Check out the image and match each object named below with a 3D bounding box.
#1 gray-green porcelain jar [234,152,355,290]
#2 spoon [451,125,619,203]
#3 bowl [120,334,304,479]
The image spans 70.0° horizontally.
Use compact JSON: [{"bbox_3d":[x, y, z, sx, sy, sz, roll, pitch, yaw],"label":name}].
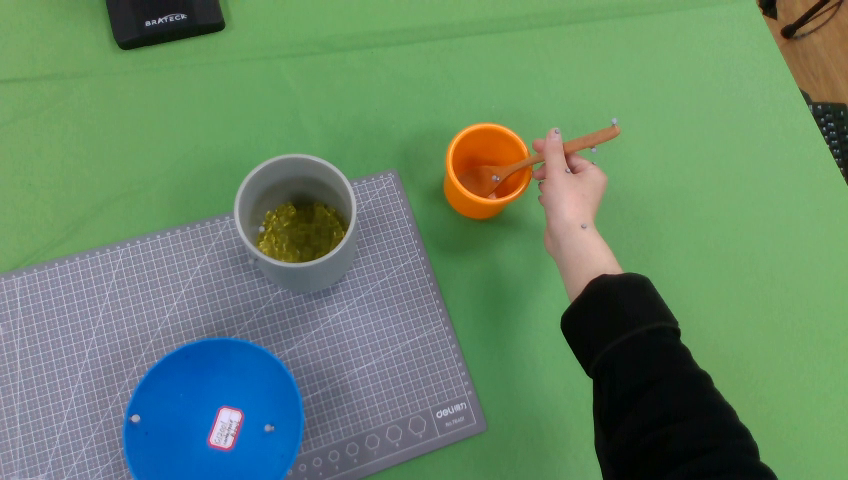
[{"bbox_3d":[-0.119,-0.011,0.585,0.106,0.127,0.105,2,74,-7],"label":"gray-green porcelain jar"},{"bbox_3d":[0.107,-0.079,0.621,0.022,0.193,0.041,11,68,-46],"label":"spoon"},{"bbox_3d":[-0.184,0.166,0.553,0.152,0.077,0.150,2,74,-7],"label":"bowl"}]
